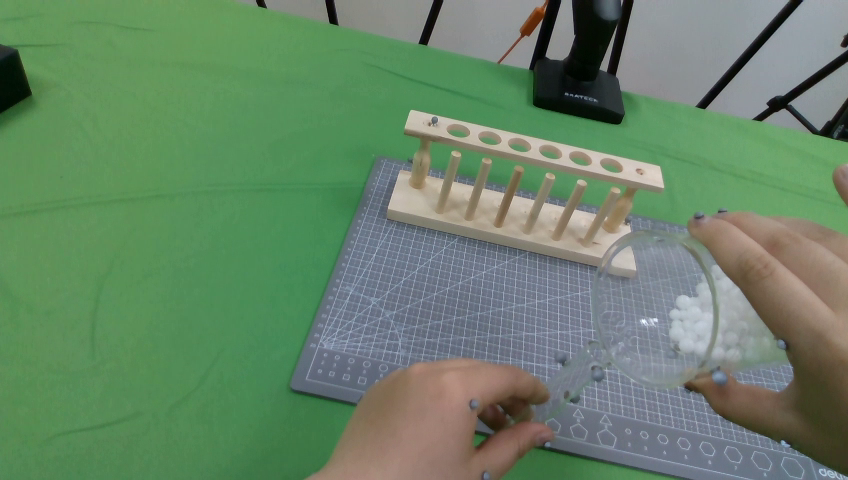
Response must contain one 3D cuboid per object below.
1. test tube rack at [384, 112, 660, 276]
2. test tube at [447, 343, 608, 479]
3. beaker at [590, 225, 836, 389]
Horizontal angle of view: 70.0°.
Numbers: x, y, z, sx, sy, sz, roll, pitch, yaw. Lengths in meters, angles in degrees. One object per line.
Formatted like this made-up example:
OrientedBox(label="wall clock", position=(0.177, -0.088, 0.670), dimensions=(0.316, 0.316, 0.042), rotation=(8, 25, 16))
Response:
OrientedBox(label="test tube rack", position=(0.091, -0.043, 0.578), dimensions=(0.242, 0.086, 0.066), rotation=(13, 43, -1))
OrientedBox(label="test tube", position=(0.055, 0.110, 0.354), dimensions=(0.017, 0.151, 0.017), rotation=(23, 36, -17))
OrientedBox(label="beaker", position=(0.146, 0.034, 0.307), dimensions=(0.101, 0.084, 0.073), rotation=(0, 52, -27))
